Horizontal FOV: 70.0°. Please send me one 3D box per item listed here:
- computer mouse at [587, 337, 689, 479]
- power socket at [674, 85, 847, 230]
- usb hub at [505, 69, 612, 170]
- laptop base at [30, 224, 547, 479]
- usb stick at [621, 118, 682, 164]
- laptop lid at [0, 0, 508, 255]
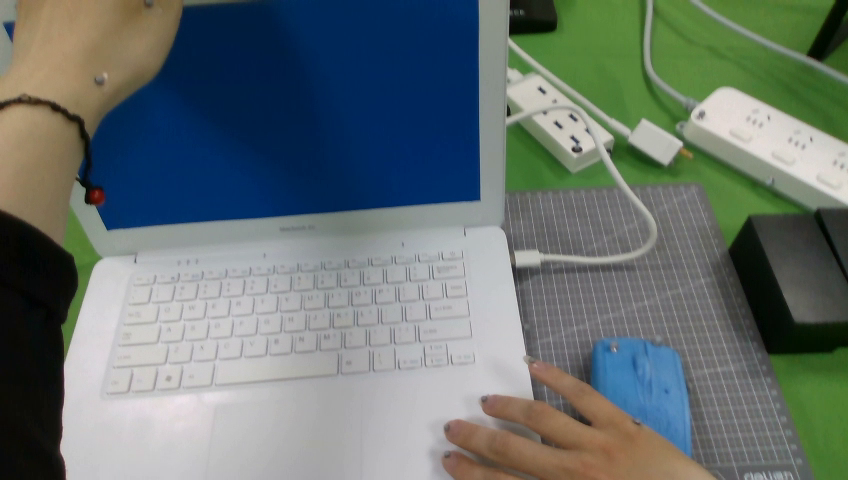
[{"bbox_3d":[0.147,0.116,0.417,0.062,0.041,0.116,7,49,11],"label":"computer mouse"},{"bbox_3d":[0.344,-0.073,0.554,0.072,0.033,0.224,-38,60,-23],"label":"power socket"},{"bbox_3d":[0.127,-0.123,0.607,0.049,0.025,0.124,-27,56,-16],"label":"usb hub"},{"bbox_3d":[-0.099,0.098,0.461,0.354,0.023,0.233,-5,57,0],"label":"laptop base"},{"bbox_3d":[0.220,-0.092,0.576,0.059,0.027,0.021,28,18,2],"label":"usb stick"},{"bbox_3d":[-0.115,-0.088,0.453,0.357,0.244,0.013,-6,40,1],"label":"laptop lid"}]
